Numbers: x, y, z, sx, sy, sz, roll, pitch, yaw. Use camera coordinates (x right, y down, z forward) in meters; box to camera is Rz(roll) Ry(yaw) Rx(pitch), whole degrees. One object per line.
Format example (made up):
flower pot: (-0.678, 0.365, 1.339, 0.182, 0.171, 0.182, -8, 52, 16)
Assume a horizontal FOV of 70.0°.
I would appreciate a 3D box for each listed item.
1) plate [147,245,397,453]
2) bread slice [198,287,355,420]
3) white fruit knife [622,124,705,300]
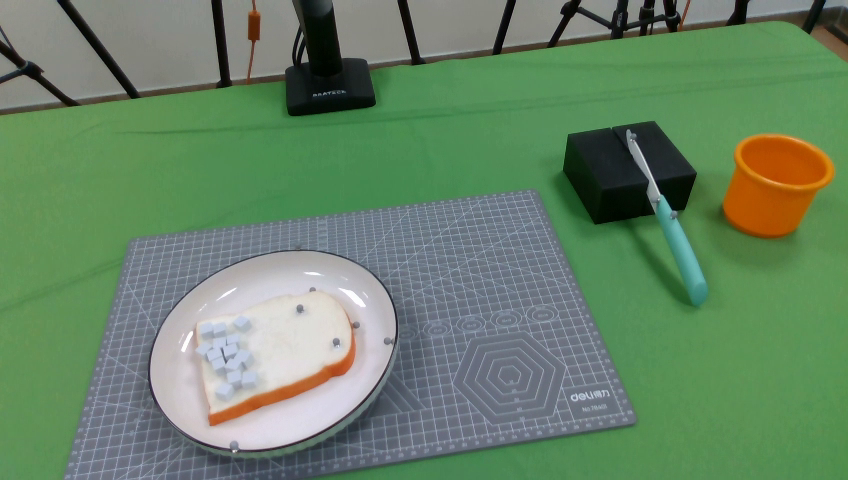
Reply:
plate: (-0.126, 0.090, 0.524, 0.209, 0.038, 0.207, -1, 45, 1)
bread slice: (-0.129, 0.088, 0.530, 0.132, 0.019, 0.103, -19, 48, -14)
white fruit knife: (0.234, -0.037, 0.607, 0.016, 0.027, 0.205, -9, 60, -6)
